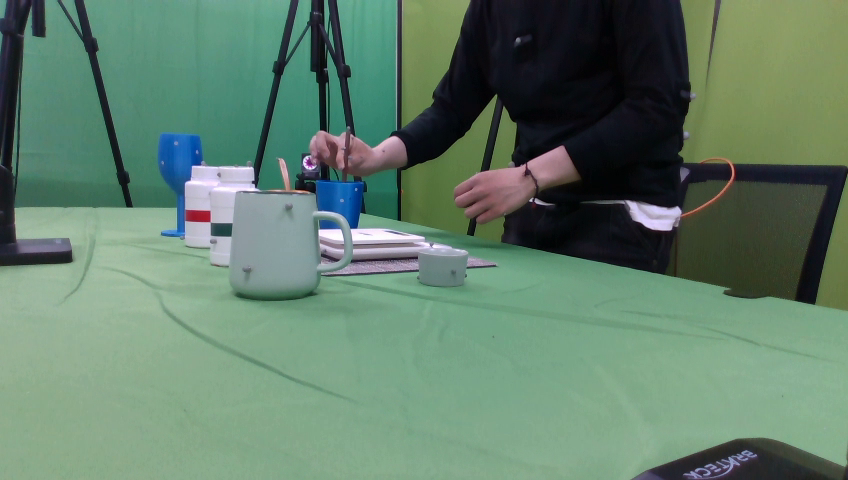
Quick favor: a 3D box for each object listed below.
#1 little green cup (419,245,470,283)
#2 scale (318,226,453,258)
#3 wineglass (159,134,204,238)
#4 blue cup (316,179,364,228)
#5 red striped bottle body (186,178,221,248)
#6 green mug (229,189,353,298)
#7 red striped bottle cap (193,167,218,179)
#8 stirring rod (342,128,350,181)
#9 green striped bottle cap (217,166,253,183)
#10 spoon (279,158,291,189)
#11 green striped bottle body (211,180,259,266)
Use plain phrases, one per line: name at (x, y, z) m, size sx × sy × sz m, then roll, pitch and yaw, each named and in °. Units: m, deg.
little green cup at (0.023, 0.028, 0.712) m, size 0.061 × 0.038 × 0.061 m, roll 2°, pitch 6°, yaw 0°
scale at (-0.066, 0.001, 0.906) m, size 0.202 × 0.031 × 0.148 m, roll -2°, pitch 8°, yaw -31°
wineglass at (-0.415, -0.093, 1.040) m, size 0.074 × 0.172 × 0.073 m, roll 2°, pitch 7°, yaw 0°
blue cup at (-0.150, -0.056, 1.071) m, size 0.093 × 0.100 × 0.092 m, roll 3°, pitch 8°, yaw 0°
red striped bottle body at (-0.331, -0.050, 0.927) m, size 0.063 × 0.119 × 0.063 m, roll 2°, pitch 6°, yaw 0°
green mug at (-0.135, 0.002, 0.618) m, size 0.125 × 0.105 × 0.092 m, roll 2°, pitch 7°, yaw 4°
red striped bottle cap at (-0.329, -0.102, 0.921) m, size 0.044 × 0.017 × 0.044 m, roll 1°, pitch 9°, yaw 0°
stirring rod at (-0.141, -0.109, 1.073) m, size 0.006 × 0.176 × 0.014 m, roll 2°, pitch 5°, yaw -33°
green striped bottle cap at (-0.242, -0.085, 0.777) m, size 0.044 × 0.020 × 0.044 m, roll 2°, pitch 9°, yaw 0°
spoon at (-0.281, -0.103, 1.251) m, size 0.042 × 0.193 × 0.021 m, roll 4°, pitch -39°, yaw -28°
green striped bottle body at (-0.243, -0.029, 0.784) m, size 0.063 × 0.119 × 0.063 m, roll 2°, pitch 7°, yaw 0°
